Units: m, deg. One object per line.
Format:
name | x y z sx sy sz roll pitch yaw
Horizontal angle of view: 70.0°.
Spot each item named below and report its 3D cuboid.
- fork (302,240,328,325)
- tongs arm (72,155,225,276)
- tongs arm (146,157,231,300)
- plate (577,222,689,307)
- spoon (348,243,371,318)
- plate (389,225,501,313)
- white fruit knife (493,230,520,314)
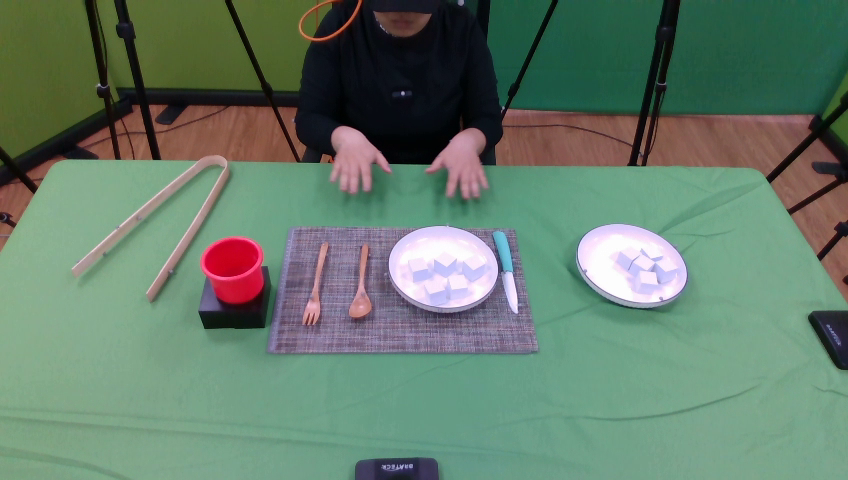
fork | -0.195 0.074 1.108 0.028 0.019 0.206 -1 48 4
tongs arm | -0.531 -0.058 1.204 0.050 0.026 0.383 18 46 13
tongs arm | -0.453 -0.036 1.193 0.028 0.028 0.385 6 45 7
plate | 0.396 0.050 1.165 0.209 0.038 0.208 2 47 -2
spoon | -0.113 0.070 1.115 0.041 0.022 0.192 -11 46 11
plate | 0.038 0.057 1.128 0.208 0.039 0.206 2 46 -2
white fruit knife | 0.160 0.057 1.154 0.027 0.016 0.206 -21 46 16
